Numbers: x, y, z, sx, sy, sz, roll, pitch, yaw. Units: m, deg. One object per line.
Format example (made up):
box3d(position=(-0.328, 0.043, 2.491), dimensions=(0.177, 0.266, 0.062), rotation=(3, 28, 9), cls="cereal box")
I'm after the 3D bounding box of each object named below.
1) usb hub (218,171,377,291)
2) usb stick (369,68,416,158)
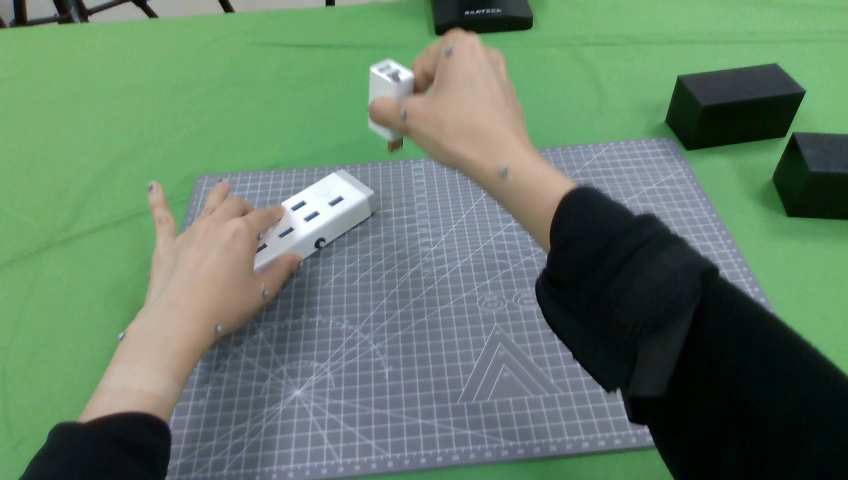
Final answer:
box3d(position=(-0.102, -0.011, 0.499), dimensions=(0.125, 0.025, 0.049), rotation=(-35, 53, -27), cls="usb hub")
box3d(position=(-0.023, -0.086, 0.423), dimensions=(0.027, 0.059, 0.021), rotation=(31, 46, 29), cls="usb stick")
